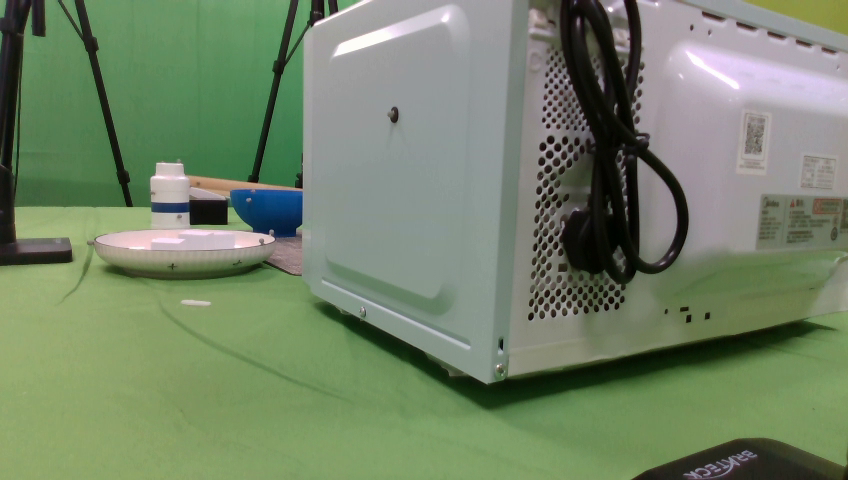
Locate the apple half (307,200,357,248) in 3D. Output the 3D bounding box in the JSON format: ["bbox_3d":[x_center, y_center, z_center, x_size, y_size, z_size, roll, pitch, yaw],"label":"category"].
[{"bbox_3d":[-0.135,-0.024,0.941,0.053,0.074,0.081,13,8,39],"label":"apple half"}]

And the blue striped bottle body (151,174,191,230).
[{"bbox_3d":[-0.439,-0.071,1.052,0.063,0.120,0.063,2,7,0],"label":"blue striped bottle body"}]

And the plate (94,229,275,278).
[{"bbox_3d":[-0.291,0.016,0.749,0.208,0.039,0.207,2,7,0],"label":"plate"}]

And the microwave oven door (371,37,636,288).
[{"bbox_3d":[0.109,-0.080,0.686,0.358,0.243,0.039,-2,9,-33],"label":"microwave oven door"}]

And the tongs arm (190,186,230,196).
[{"bbox_3d":[-0.398,-0.116,1.468,0.386,0.026,0.050,5,-5,-7],"label":"tongs arm"}]

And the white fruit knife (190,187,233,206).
[{"bbox_3d":[-0.413,-0.081,1.270,0.208,0.027,0.016,18,14,-42],"label":"white fruit knife"}]

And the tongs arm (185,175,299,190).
[{"bbox_3d":[-0.385,-0.119,1.396,0.389,0.027,0.028,5,-9,-18],"label":"tongs arm"}]

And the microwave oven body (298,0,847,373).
[{"bbox_3d":[0.151,-0.055,0.542,0.444,0.260,0.324,-2,7,-33],"label":"microwave oven body"}]

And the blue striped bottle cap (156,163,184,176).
[{"bbox_3d":[-0.438,-0.122,1.045,0.044,0.020,0.044,5,6,0],"label":"blue striped bottle cap"}]

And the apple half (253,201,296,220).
[{"bbox_3d":[-0.264,-0.053,1.066,0.081,0.033,0.081,1,8,0],"label":"apple half"}]

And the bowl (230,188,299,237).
[{"bbox_3d":[-0.265,-0.048,1.065,0.151,0.077,0.151,3,8,0],"label":"bowl"}]

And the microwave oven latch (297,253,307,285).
[{"bbox_3d":[-0.081,0.027,0.582,0.079,0.029,0.030,-1,7,-32],"label":"microwave oven latch"}]
